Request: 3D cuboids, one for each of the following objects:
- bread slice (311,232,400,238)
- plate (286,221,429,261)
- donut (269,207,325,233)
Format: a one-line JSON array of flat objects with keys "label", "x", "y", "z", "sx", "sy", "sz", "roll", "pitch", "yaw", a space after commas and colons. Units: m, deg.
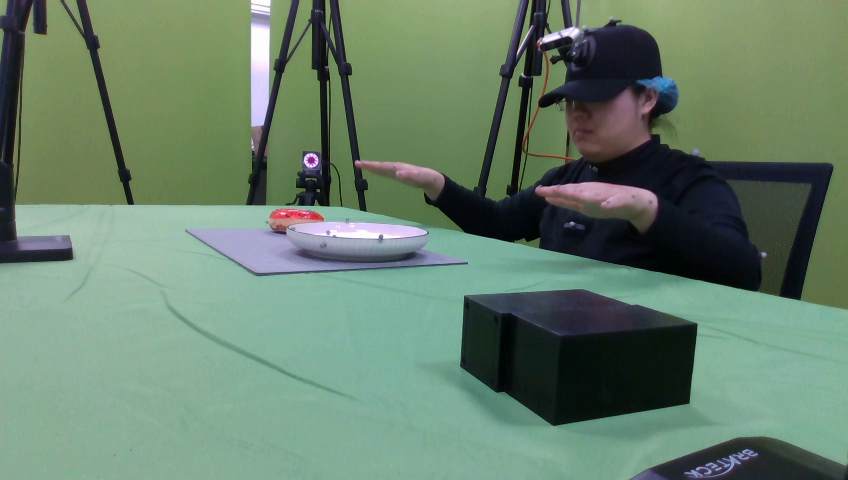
[{"label": "bread slice", "x": -0.101, "y": 0.002, "z": 0.885, "sx": 0.135, "sy": 0.018, "sz": 0.106, "roll": -3, "pitch": 8, "yaw": -38}, {"label": "plate", "x": -0.096, "y": 0.001, "z": 0.886, "sx": 0.209, "sy": 0.038, "sz": 0.209, "roll": 2, "pitch": 7, "yaw": 0}, {"label": "donut", "x": -0.230, "y": -0.036, "z": 1.098, "sx": 0.099, "sy": 0.048, "sz": 0.099, "roll": 3, "pitch": 5, "yaw": 0}]
